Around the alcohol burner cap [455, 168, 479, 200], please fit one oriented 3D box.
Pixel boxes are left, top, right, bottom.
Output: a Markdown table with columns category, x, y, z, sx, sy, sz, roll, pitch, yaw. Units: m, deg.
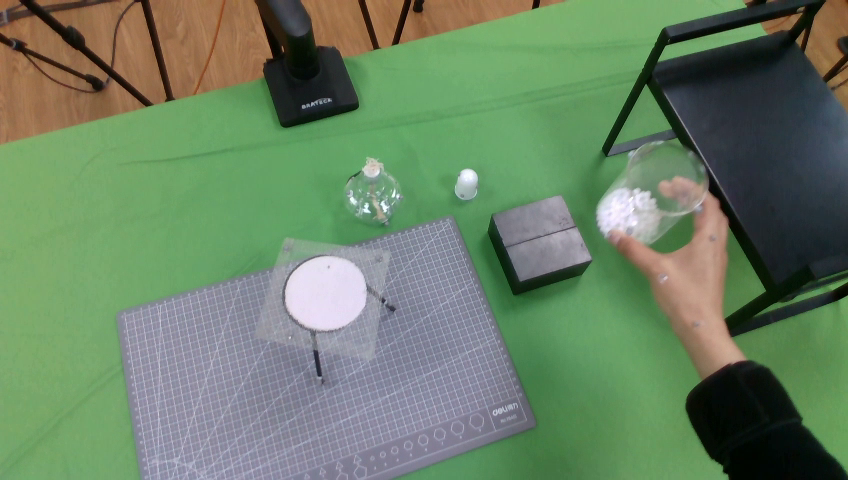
| category | x | y | z | sx | sy | sz | roll | pitch | yaw |
| --- | --- | --- | --- | --- | --- | --- | --- | --- | --- |
| alcohol burner cap | 0.060 | -0.080 | 0.837 | 0.034 | 0.048 | 0.033 | 0 | 65 | -1 |

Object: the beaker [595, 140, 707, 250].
| category | x | y | z | sx | sy | sz | roll | pitch | yaw |
| --- | --- | --- | --- | --- | --- | --- | --- | --- | --- |
| beaker | 0.212 | -0.036 | 0.586 | 0.073 | 0.101 | 0.084 | 42 | 72 | 12 |

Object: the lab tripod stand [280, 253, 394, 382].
| category | x | y | z | sx | sy | sz | roll | pitch | yaw |
| --- | --- | --- | --- | --- | --- | --- | --- | --- | --- |
| lab tripod stand | -0.106 | 0.079 | 0.706 | 0.148 | 0.132 | 0.147 | 1 | 64 | -2 |

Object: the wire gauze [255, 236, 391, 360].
| category | x | y | z | sx | sy | sz | roll | pitch | yaw |
| --- | --- | --- | --- | --- | --- | --- | --- | --- | --- |
| wire gauze | -0.104 | 0.057 | 0.642 | 0.125 | 0.011 | 0.120 | 10 | 65 | 2 |

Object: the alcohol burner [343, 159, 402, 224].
| category | x | y | z | sx | sy | sz | roll | pitch | yaw |
| --- | --- | --- | --- | --- | --- | --- | --- | --- | --- |
| alcohol burner | -0.067 | -0.070 | 0.788 | 0.078 | 0.120 | 0.077 | 1 | 65 | -3 |
